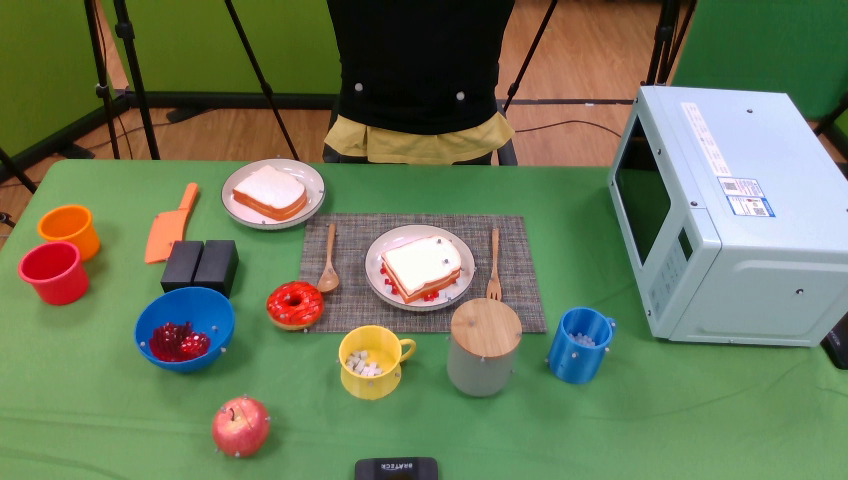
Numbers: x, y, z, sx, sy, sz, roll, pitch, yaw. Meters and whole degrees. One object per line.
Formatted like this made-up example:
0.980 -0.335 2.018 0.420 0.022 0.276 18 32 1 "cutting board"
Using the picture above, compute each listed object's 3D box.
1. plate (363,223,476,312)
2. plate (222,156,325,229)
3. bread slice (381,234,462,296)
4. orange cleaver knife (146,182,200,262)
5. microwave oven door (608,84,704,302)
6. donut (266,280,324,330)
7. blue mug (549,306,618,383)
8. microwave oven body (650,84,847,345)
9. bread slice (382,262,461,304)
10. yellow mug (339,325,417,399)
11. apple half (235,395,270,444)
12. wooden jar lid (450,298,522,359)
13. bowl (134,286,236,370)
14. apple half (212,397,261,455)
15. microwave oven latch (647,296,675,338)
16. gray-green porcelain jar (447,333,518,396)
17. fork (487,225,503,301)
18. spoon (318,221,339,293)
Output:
-0.009 0.054 1.126 0.208 0.039 0.206 2 46 -2 "plate"
-0.307 -0.094 1.251 0.209 0.038 0.208 2 47 -2 "plate"
0.001 0.039 1.108 0.134 0.018 0.106 -25 56 -22 "bread slice"
-0.494 -0.039 1.199 0.077 0.012 0.210 -4 48 2 "orange cleaver knife"
0.424 -0.096 1.138 0.039 0.245 0.353 3 46 -1 "microwave oven door"
-0.223 0.112 1.051 0.099 0.048 0.098 2 46 -2 "donut"
0.269 0.167 0.997 0.116 0.106 0.082 -19 50 -21 "blue mug"
0.569 -0.054 1.116 0.326 0.261 0.439 2 46 -1 "microwave oven body"
0.000 0.056 1.130 0.131 0.019 0.104 -23 51 -20 "bread slice"
-0.072 0.191 0.978 0.131 0.064 0.099 -17 49 -20 "yellow mug"
-0.245 0.260 0.893 0.033 0.082 0.081 -29 55 -22 "apple half"
0.093 0.135 0.914 0.108 0.021 0.107 2 48 -3 "wooden jar lid"
-0.377 0.156 0.981 0.151 0.077 0.150 2 46 -2 "bowl"
-0.276 0.277 0.877 0.053 0.075 0.080 -29 58 -21 "apple half"
0.413 0.133 1.060 0.030 0.029 0.078 5 46 2 "microwave oven latch"
0.091 0.178 0.960 0.106 0.127 0.105 2 46 -2 "gray-green porcelain jar"
0.138 0.043 1.160 0.028 0.019 0.206 0 48 9 "fork"
-0.178 0.028 1.149 0.041 0.022 0.192 -18 46 13 "spoon"
